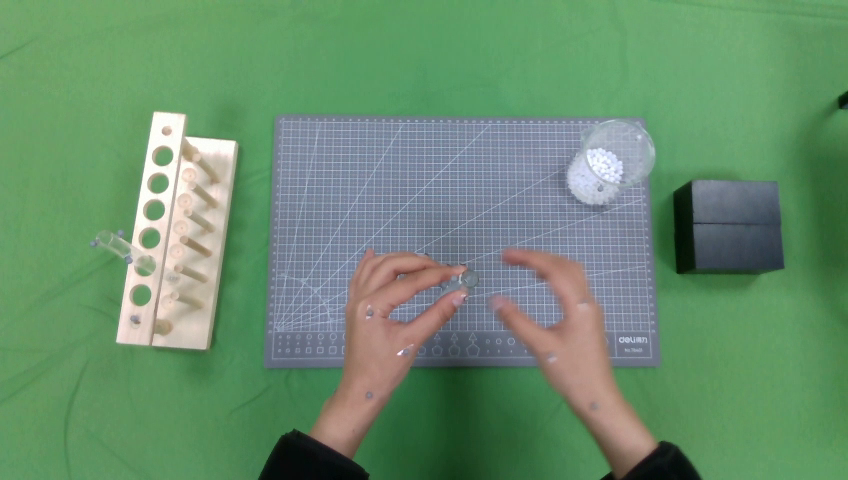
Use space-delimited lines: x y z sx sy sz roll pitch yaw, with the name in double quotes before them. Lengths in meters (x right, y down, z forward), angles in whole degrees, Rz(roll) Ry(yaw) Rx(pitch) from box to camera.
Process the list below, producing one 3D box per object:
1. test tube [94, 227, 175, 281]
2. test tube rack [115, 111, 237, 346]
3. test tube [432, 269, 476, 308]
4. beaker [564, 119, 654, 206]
"test tube" -0.285 0.018 0.607 0.017 0.151 0.017 0 73 1
"test tube rack" -0.265 -0.008 0.662 0.067 0.085 0.241 5 80 -1
"test tube" 0.025 0.046 0.555 0.017 0.151 0.017 2 77 -7
"beaker" 0.199 -0.084 0.681 0.084 0.100 0.074 32 80 6
